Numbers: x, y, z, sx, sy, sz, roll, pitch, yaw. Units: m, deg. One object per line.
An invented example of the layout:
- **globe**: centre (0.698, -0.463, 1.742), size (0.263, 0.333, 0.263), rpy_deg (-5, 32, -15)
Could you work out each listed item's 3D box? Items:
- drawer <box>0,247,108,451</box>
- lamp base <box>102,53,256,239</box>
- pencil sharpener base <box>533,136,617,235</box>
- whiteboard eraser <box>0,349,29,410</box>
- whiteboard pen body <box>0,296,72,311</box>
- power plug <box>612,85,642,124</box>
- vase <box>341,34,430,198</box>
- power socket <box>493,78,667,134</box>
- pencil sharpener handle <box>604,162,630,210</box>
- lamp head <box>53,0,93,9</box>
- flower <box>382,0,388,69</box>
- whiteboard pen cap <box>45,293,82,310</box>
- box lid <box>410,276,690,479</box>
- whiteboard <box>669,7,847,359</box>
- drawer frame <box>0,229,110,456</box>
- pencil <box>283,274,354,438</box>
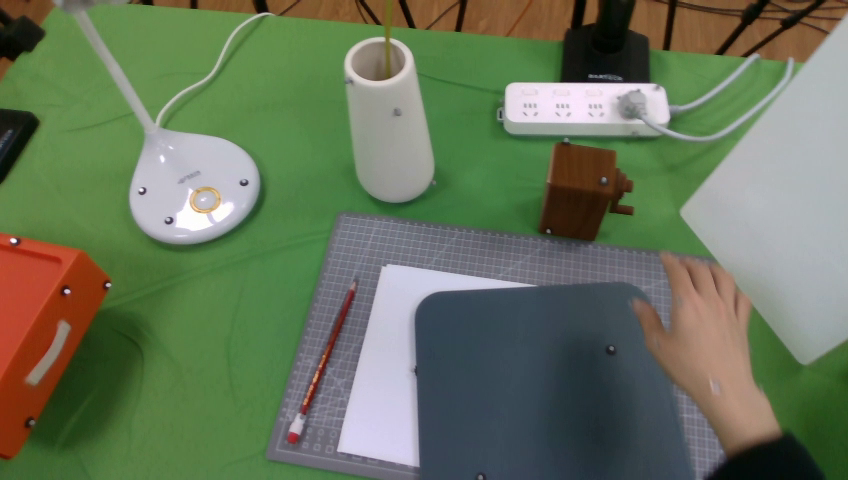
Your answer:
- **drawer**: centre (-0.463, 0.084, 0.600), size (0.211, 0.074, 0.193), rpy_deg (11, 62, 9)
- **lamp base**: centre (-0.305, -0.117, 0.702), size (0.178, 0.182, 0.160), rpy_deg (38, 68, 24)
- **pencil sharpener base**: centre (0.171, -0.059, 0.693), size (0.076, 0.108, 0.061), rpy_deg (9, 61, 8)
- **whiteboard eraser**: centre (-0.447, 0.133, 0.591), size (0.112, 0.042, 0.055), rpy_deg (3, 53, 12)
- **whiteboard pen body**: centre (-0.438, 0.066, 0.633), size (0.141, 0.017, 0.017), rpy_deg (0, 60, 0)
- **power plug**: centre (0.254, -0.163, 0.764), size (0.035, 0.053, 0.072), rpy_deg (11, 63, 9)
- **vase**: centre (-0.046, -0.135, 0.692), size (0.098, 0.202, 0.097), rpy_deg (-2, 59, 3)
- **power socket**: centre (0.206, -0.178, 0.802), size (0.226, 0.033, 0.071), rpy_deg (2, 61, 3)
- **pencil sharpener handle**: centre (0.220, -0.057, 0.675), size (0.030, 0.068, 0.035), rpy_deg (9, 59, 8)
- **lamp head**: centre (-0.270, -0.251, 0.444), size (0.123, 0.112, 0.112), rpy_deg (47, 66, -16)
- **flower**: centre (-0.040, -0.190, 0.628), size (0.038, 0.365, 0.043), rpy_deg (-3, 42, -7)
- **whiteboard pen cap**: centre (-0.377, 0.065, 0.632), size (0.033, 0.018, 0.018), rpy_deg (-4, 59, 9)
- **box lid**: centre (0.121, 0.204, 0.597), size (0.263, 0.015, 0.368), rpy_deg (-3, 61, 0)
- **whiteboard**: centre (0.442, -0.060, 0.603), size (0.144, 0.307, 0.215), rpy_deg (-12, 58, -26)
- **drawer frame**: centre (-0.470, 0.085, 0.603), size (0.213, 0.083, 0.200), rpy_deg (12, 62, 7)
- **pencil**: centre (-0.110, 0.118, 0.656), size (0.012, 0.012, 0.193), rpy_deg (14, 60, 11)
